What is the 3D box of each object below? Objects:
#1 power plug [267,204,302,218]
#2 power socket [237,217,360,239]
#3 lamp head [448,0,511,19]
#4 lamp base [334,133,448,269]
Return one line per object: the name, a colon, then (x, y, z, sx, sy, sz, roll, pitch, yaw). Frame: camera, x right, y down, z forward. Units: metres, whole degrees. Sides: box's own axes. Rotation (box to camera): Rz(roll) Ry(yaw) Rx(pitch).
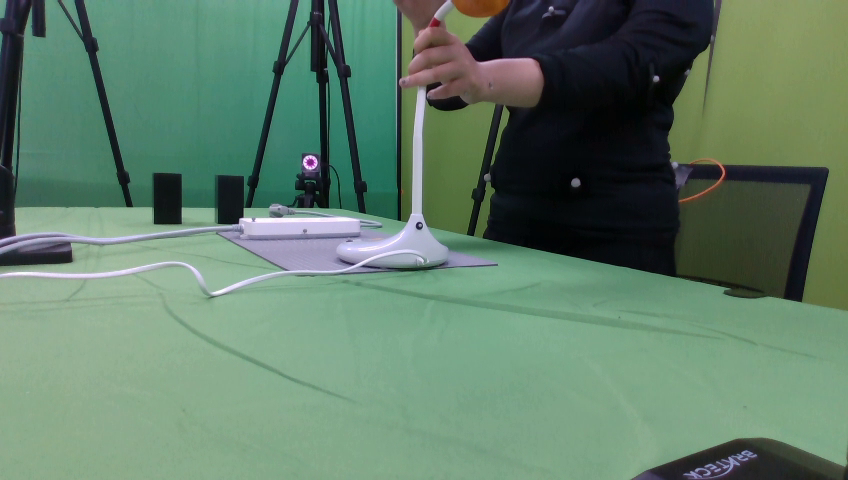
power plug: (-0.327, -0.060, 1.404, 0.073, 0.035, 0.052, 22, -15, -26)
power socket: (-0.220, -0.023, 1.080, 0.228, 0.032, 0.072, -2, 8, -33)
lamp head: (0.063, -0.323, 0.705, 0.112, 0.122, 0.112, 6, -3, 1)
lamp base: (-0.034, -0.057, 0.831, 0.161, 0.180, 0.178, -2, 11, -36)
